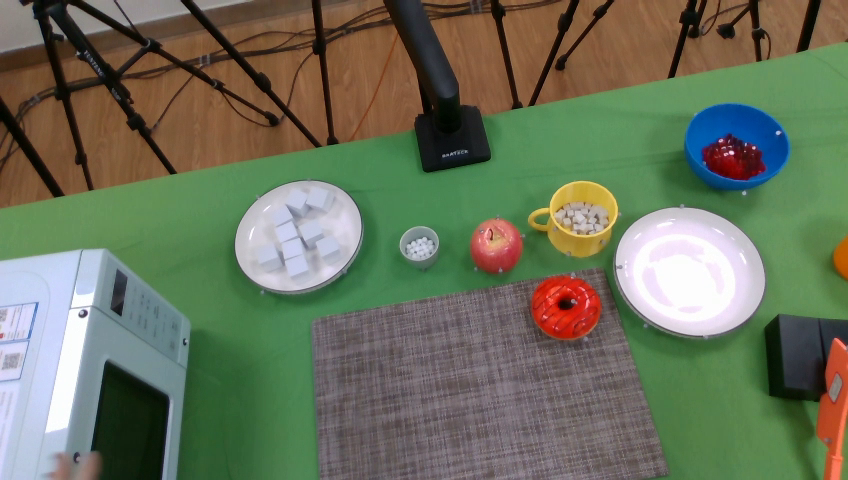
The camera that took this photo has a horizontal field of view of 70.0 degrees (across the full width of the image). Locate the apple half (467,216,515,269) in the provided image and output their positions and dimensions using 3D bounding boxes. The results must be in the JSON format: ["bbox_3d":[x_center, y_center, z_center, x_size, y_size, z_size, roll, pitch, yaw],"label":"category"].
[{"bbox_3d":[0.094,0.012,0.914,0.053,0.075,0.080,-36,67,-7],"label":"apple half"}]

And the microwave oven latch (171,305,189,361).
[{"bbox_3d":[-0.368,0.139,0.897,0.030,0.030,0.078,-6,62,3],"label":"microwave oven latch"}]

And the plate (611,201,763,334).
[{"bbox_3d":[0.378,0.041,0.884,0.209,0.038,0.207,-3,62,6],"label":"plate"}]

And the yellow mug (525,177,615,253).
[{"bbox_3d":[0.221,-0.038,0.929,0.131,0.064,0.099,-1,62,7],"label":"yellow mug"}]

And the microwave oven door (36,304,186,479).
[{"bbox_3d":[-0.360,0.281,0.703,0.039,0.246,0.352,-8,61,3],"label":"microwave oven door"}]

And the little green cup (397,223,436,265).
[{"bbox_3d":[-0.009,0.008,0.947,0.061,0.039,0.061,-3,61,6],"label":"little green cup"}]

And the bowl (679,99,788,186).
[{"bbox_3d":[0.470,-0.138,0.946,0.151,0.077,0.150,-3,62,6],"label":"bowl"}]

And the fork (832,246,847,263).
[{"bbox_3d":[0.666,-0.009,0.813,0.207,0.019,0.028,-29,48,42],"label":"fork"}]

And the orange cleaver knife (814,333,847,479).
[{"bbox_3d":[0.498,0.221,0.744,0.012,0.077,0.211,6,95,12],"label":"orange cleaver knife"}]

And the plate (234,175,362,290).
[{"bbox_3d":[-0.199,-0.010,0.979,0.207,0.039,0.206,-3,61,5],"label":"plate"}]

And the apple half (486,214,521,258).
[{"bbox_3d":[0.126,-0.010,0.920,0.033,0.082,0.080,-36,63,-7],"label":"apple half"}]

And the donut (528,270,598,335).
[{"bbox_3d":[0.199,0.089,0.871,0.099,0.048,0.098,-3,62,7],"label":"donut"}]

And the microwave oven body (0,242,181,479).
[{"bbox_3d":[-0.508,0.266,0.734,0.326,0.262,0.437,-8,62,2],"label":"microwave oven body"}]
